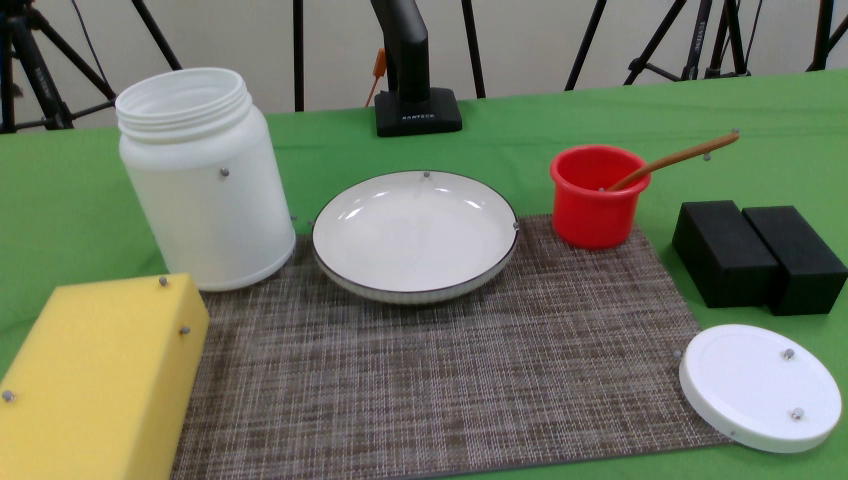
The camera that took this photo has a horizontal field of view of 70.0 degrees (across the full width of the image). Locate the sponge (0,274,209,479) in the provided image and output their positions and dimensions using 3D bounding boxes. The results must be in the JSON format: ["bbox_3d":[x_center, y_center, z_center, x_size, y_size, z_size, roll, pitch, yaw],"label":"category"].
[{"bbox_3d":[-0.249,0.119,0.463,0.118,0.061,0.204,-7,38,-2],"label":"sponge"}]

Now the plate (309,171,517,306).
[{"bbox_3d":[-0.010,-0.001,0.619,0.209,0.038,0.207,-1,38,1],"label":"plate"}]

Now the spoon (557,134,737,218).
[{"bbox_3d":[0.209,-0.060,0.595,0.022,0.193,0.041,52,48,-7],"label":"spoon"}]

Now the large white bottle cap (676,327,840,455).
[{"bbox_3d":[0.259,0.114,0.475,0.115,0.018,0.113,0,38,0],"label":"large white bottle cap"}]

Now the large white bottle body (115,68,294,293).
[{"bbox_3d":[-0.206,-0.057,0.580,0.130,0.186,0.129,-3,36,3],"label":"large white bottle body"}]
